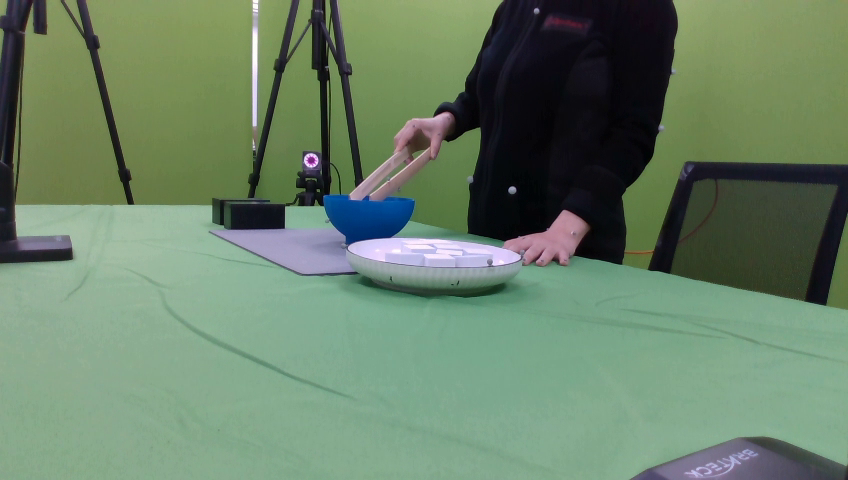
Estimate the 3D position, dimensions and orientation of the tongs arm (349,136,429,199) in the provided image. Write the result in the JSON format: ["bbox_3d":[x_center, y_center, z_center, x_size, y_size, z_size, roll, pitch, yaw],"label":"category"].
[{"bbox_3d":[-0.059,-0.135,1.131,0.028,0.028,0.388,-3,22,20],"label":"tongs arm"}]

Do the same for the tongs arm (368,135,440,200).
[{"bbox_3d":[-0.036,-0.135,1.124,0.050,0.026,0.385,2,24,22],"label":"tongs arm"}]

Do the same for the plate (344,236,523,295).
[{"bbox_3d":[0.010,0.030,0.707,0.208,0.039,0.207,3,8,0],"label":"plate"}]

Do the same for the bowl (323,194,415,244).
[{"bbox_3d":[-0.090,-0.032,0.986,0.151,0.077,0.151,2,7,0],"label":"bowl"}]
